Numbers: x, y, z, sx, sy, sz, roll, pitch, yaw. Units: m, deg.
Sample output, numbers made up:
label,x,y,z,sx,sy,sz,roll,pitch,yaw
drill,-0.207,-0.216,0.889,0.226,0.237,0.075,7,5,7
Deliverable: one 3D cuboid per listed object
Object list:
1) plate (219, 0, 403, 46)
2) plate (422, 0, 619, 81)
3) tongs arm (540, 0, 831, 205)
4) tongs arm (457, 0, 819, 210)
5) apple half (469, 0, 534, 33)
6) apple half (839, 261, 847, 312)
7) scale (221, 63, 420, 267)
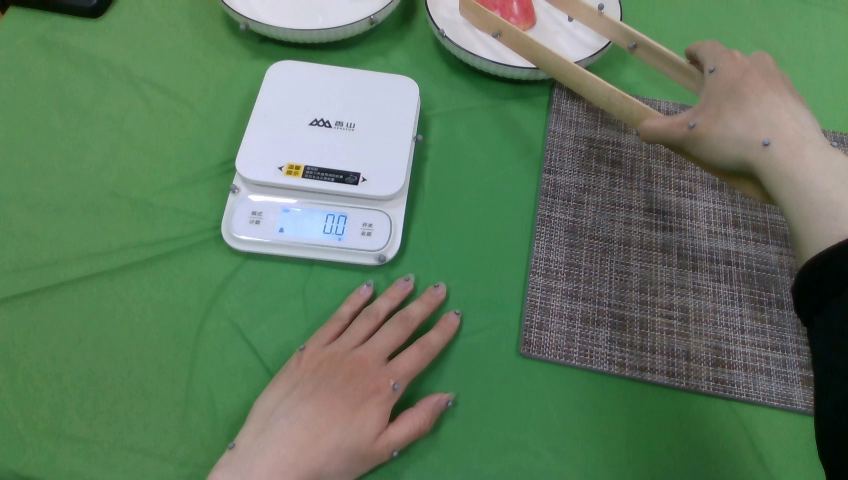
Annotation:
label,x,y,z,sx,sy,sz,roll,pitch,yaw
plate,-0.120,-0.279,0.660,0.208,0.039,0.205,2,58,-2
plate,0.102,-0.241,0.650,0.209,0.038,0.207,2,58,-3
tongs arm,0.196,-0.160,0.552,0.051,0.027,0.380,-28,54,-19
tongs arm,0.154,-0.137,0.536,0.028,0.028,0.383,-29,54,-24
apple half,0.083,-0.254,0.651,0.081,0.033,0.080,1,55,-1
apple half,0.360,0.040,0.469,0.053,0.075,0.080,-23,66,-12
scale,-0.086,-0.073,0.538,0.149,0.032,0.199,7,59,1
